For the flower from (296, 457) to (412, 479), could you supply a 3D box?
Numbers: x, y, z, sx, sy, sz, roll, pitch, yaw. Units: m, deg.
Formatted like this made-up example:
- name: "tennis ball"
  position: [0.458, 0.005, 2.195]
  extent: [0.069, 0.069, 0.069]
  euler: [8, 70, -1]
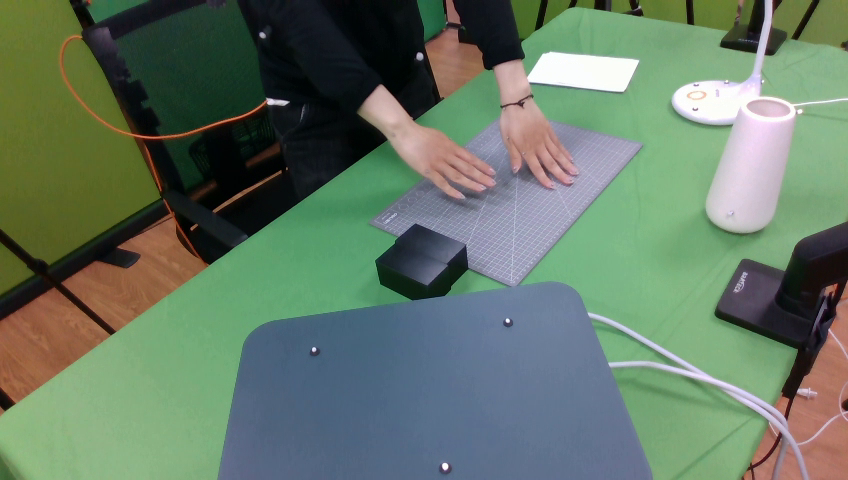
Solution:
- name: "flower"
  position: [0.017, 0.270, 0.655]
  extent: [0.360, 0.038, 0.044]
  euler: [3, 18, 21]

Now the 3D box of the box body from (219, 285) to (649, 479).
- name: "box body"
  position: [0.005, 0.209, 0.618]
  extent: [0.364, 0.161, 0.252]
  euler: [-8, 40, -1]

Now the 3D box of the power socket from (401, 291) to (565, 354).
- name: "power socket"
  position: [0.079, 0.111, 0.823]
  extent: [0.227, 0.033, 0.072]
  euler: [-5, 41, 1]

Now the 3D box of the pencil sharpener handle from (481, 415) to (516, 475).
- name: "pencil sharpener handle"
  position: [0.076, 0.211, 0.619]
  extent: [0.036, 0.068, 0.030]
  euler: [1, 42, 1]

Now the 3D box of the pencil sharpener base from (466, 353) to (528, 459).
- name: "pencil sharpener base"
  position: [0.081, 0.186, 0.665]
  extent: [0.061, 0.107, 0.076]
  euler: [-4, 41, 5]

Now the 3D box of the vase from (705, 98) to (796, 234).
- name: "vase"
  position: [0.480, -0.104, 0.889]
  extent: [0.098, 0.201, 0.097]
  euler: [-4, 42, 4]

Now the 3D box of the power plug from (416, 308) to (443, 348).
- name: "power plug"
  position: [0.005, 0.121, 0.787]
  extent: [0.035, 0.053, 0.072]
  euler: [2, 46, 8]

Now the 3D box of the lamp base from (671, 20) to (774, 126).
- name: "lamp base"
  position: [0.581, -0.332, 1.154]
  extent: [0.179, 0.181, 0.160]
  euler: [2, 41, 7]

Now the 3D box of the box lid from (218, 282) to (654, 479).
- name: "box lid"
  position: [-0.004, 0.154, 0.571]
  extent: [0.372, 0.015, 0.261]
  euler: [-8, 40, -1]
